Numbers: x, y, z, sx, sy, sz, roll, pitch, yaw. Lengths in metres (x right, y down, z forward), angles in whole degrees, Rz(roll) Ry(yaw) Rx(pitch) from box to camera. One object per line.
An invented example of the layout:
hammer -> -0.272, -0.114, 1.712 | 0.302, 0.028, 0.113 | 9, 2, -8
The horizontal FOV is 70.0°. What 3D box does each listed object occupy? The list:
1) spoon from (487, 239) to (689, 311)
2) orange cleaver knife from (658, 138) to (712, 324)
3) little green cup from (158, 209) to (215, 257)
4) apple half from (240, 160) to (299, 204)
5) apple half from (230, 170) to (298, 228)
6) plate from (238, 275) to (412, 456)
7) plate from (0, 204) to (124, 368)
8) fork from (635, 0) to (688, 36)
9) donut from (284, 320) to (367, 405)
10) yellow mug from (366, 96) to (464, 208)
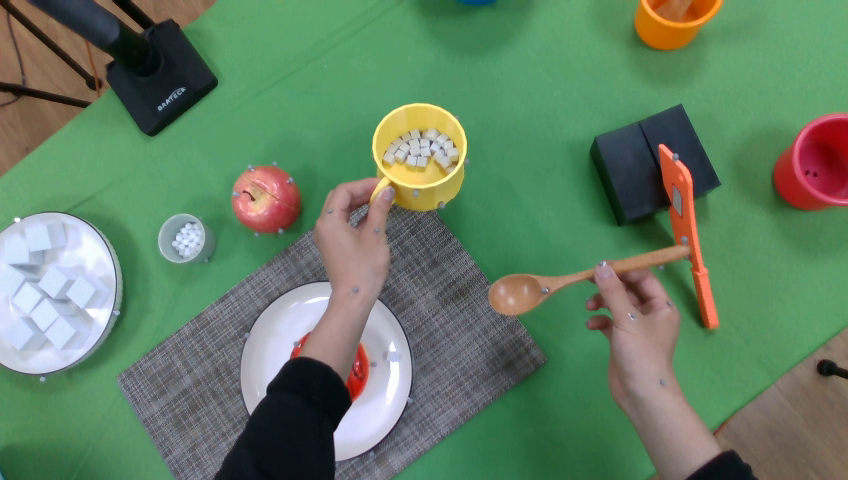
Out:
spoon -> 0.153, 0.030, 0.581 | 0.193, 0.022, 0.041 | -17, 70, 23
orange cleaver knife -> 0.283, -0.007, 0.659 | 0.012, 0.076, 0.213 | -18, 113, 7
little green cup -> -0.296, -0.006, 0.763 | 0.061, 0.039, 0.061 | -1, 83, 8
apple half -> -0.179, -0.076, 0.737 | 0.081, 0.081, 0.033 | 32, 91, 11
apple half -> -0.200, -0.043, 0.737 | 0.080, 0.075, 0.053 | 33, 92, 7
plate -> -0.115, 0.145, 0.716 | 0.209, 0.038, 0.208 | -1, 83, 8
plate -> -0.479, 0.058, 0.780 | 0.207, 0.039, 0.207 | -1, 83, 8
fork -> 0.319, -0.299, 0.659 | 0.207, 0.019, 0.028 | -39, 73, 46
donut -> -0.115, 0.142, 0.705 | 0.099, 0.048, 0.099 | -1, 86, 8
yellow mug -> -0.017, -0.085, 0.654 | 0.099, 0.064, 0.130 | 39, 77, 11
